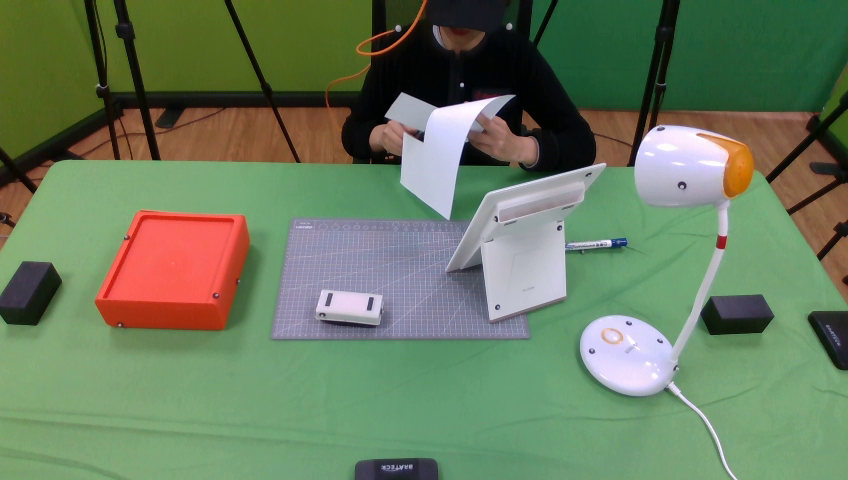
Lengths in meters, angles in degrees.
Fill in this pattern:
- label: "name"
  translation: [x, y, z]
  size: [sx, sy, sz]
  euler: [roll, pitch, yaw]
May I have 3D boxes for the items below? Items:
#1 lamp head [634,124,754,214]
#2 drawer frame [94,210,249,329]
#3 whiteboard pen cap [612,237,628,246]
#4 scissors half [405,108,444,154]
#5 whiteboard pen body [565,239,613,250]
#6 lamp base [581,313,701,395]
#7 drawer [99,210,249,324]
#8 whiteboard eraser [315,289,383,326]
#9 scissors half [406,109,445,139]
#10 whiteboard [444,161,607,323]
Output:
- label: "lamp head"
  translation: [0.351, -0.089, 0.775]
  size: [0.112, 0.113, 0.122]
  euler: [-30, 30, -28]
- label: "drawer frame"
  translation: [-0.434, 0.048, 1.076]
  size: [0.202, 0.083, 0.212]
  euler: [2, 47, -3]
- label: "whiteboard pen cap"
  translation: [0.390, 0.004, 1.215]
  size: [0.033, 0.018, 0.018]
  euler: [-7, 47, -2]
- label: "scissors half"
  translation: [0.002, -0.226, 1.260]
  size: [0.013, 0.175, 0.040]
  euler: [3, 66, -26]
- label: "whiteboard pen body"
  translation: [0.331, 0.008, 1.211]
  size: [0.141, 0.017, 0.017]
  euler: [-5, 47, -4]
- label: "lamp base"
  translation: [0.361, 0.144, 0.972]
  size: [0.178, 0.181, 0.160]
  euler: [34, 53, 23]
- label: "drawer"
  translation: [-0.435, 0.044, 1.081]
  size: [0.194, 0.073, 0.210]
  euler: [3, 47, -2]
- label: "whiteboard eraser"
  translation: [-0.130, 0.119, 1.054]
  size: [0.113, 0.042, 0.055]
  euler: [6, 47, 1]
- label: "scissors half"
  translation: [0.002, -0.246, 1.265]
  size: [0.013, 0.175, 0.040]
  euler: [9, 82, -25]
- label: "whiteboard"
  translation: [0.186, 0.025, 1.029]
  size: [0.217, 0.306, 0.143]
  euler: [-14, 68, -18]
